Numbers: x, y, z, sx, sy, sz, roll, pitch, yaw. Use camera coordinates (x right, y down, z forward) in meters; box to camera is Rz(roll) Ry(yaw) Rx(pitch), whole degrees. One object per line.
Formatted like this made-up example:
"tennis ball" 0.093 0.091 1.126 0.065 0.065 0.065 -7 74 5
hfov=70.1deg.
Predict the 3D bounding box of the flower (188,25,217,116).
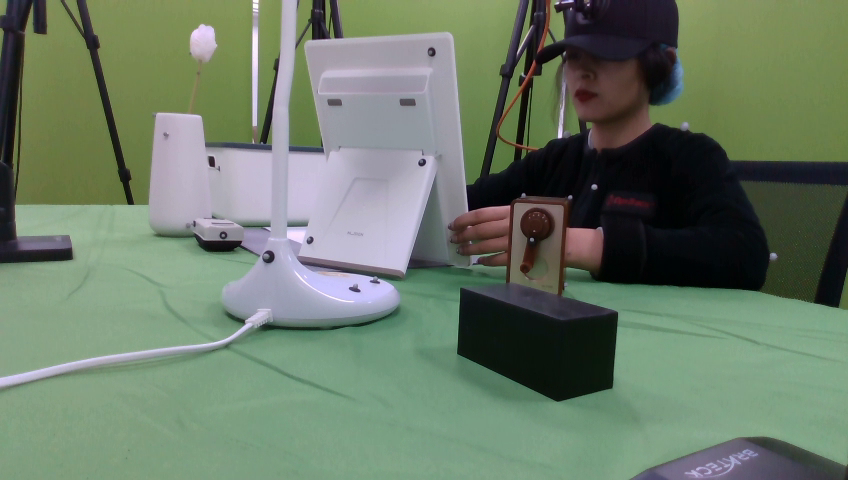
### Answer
"flower" -0.394 -0.189 1.011 0.044 0.361 0.038 -1 -13 27

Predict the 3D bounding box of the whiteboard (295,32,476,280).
"whiteboard" -0.076 -0.084 0.747 0.216 0.305 0.144 7 28 29

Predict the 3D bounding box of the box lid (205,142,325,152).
"box lid" -0.270 -0.196 1.310 0.373 0.015 0.262 -2 9 -30

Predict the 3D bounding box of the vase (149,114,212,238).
"vase" -0.405 -0.106 1.005 0.098 0.200 0.098 2 6 0

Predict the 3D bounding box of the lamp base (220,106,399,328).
"lamp base" -0.102 -0.023 0.531 0.160 0.180 0.179 4 10 10

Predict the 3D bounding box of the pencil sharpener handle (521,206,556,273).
"pencil sharpener handle" 0.111 0.000 0.612 0.036 0.067 0.031 13 10 14

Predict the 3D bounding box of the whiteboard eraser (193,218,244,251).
"whiteboard eraser" -0.307 -0.009 0.900 0.056 0.042 0.112 -3 10 -29

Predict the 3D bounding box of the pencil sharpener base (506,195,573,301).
"pencil sharpener base" 0.127 0.007 0.662 0.061 0.107 0.077 5 8 15

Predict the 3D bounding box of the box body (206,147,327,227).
"box body" -0.276 -0.122 1.320 0.366 0.160 0.253 -2 9 -30

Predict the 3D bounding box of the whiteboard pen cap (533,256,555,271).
"whiteboard pen cap" 0.166 0.032 0.839 0.018 0.018 0.033 -1 6 -23

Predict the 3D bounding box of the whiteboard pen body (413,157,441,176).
"whiteboard pen body" 0.004 -0.104 0.858 0.017 0.017 0.141 4 14 13
